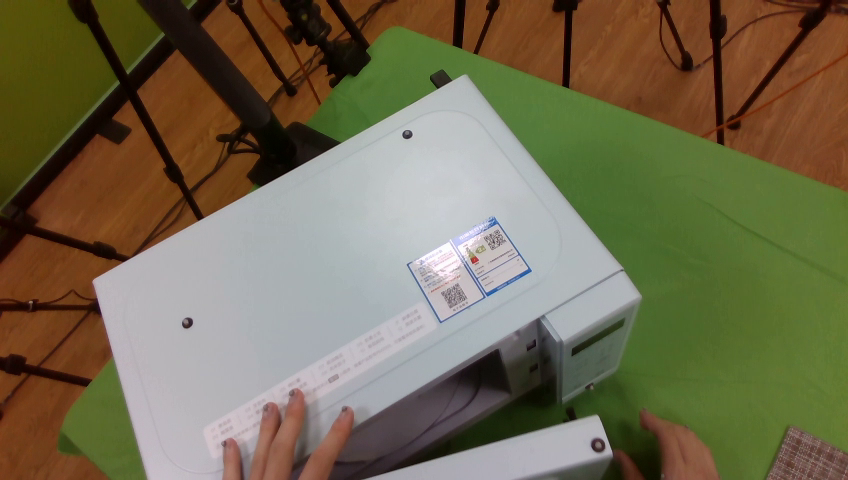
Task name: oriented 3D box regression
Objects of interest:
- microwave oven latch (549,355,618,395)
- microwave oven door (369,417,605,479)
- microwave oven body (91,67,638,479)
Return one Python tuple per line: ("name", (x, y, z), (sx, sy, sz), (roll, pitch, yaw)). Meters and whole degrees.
("microwave oven latch", (0.182, 0.145, 0.693), (0.079, 0.030, 0.030), (-29, 62, -3))
("microwave oven door", (-0.013, 0.244, 0.569), (0.356, 0.246, 0.039), (-17, 61, 3))
("microwave oven body", (-0.059, 0.081, 0.664), (0.442, 0.262, 0.323), (-30, 62, -3))
